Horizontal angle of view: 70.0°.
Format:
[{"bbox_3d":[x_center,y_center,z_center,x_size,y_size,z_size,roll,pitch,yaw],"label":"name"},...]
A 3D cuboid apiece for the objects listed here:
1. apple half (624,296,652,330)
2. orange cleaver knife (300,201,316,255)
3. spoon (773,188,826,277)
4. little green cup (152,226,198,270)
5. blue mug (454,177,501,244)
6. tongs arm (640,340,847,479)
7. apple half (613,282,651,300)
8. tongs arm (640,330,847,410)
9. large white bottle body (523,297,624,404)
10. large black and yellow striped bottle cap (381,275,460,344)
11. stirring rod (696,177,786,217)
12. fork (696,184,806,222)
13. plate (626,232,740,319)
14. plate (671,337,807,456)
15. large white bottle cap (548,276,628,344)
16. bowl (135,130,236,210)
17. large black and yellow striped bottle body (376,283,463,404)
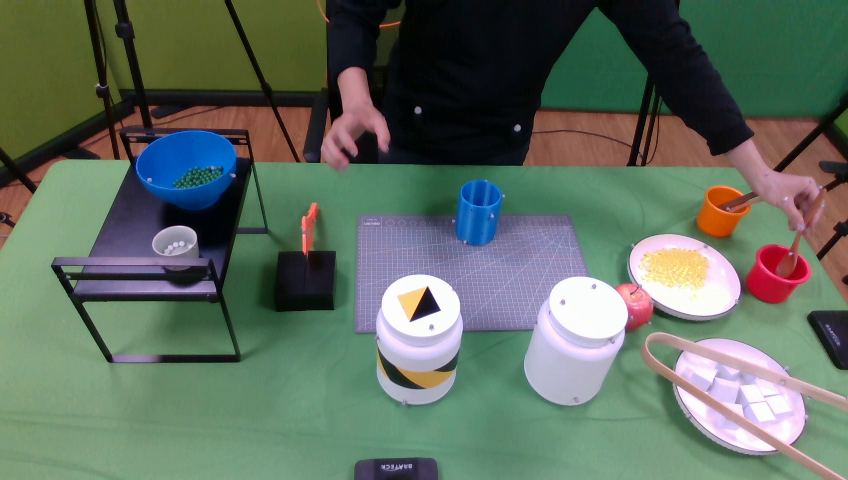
[{"bbox_3d":[0.368,0.135,1.060,0.081,0.081,0.032,-11,43,-15],"label":"apple half"},{"bbox_3d":[-0.221,-0.027,1.160,0.012,0.077,0.210,-1,15,-4],"label":"orange cleaver knife"},{"bbox_3d":[0.683,-0.011,1.104,0.021,0.194,0.041,1,38,1],"label":"spoon"},{"bbox_3d":[-0.364,0.013,0.894,0.061,0.039,0.061,3,46,-3],"label":"little green cup"},{"bbox_3d":[0.106,-0.067,1.208,0.082,0.106,0.116,6,46,1],"label":"blue mug"},{"bbox_3d":[0.500,0.277,0.919,0.386,0.028,0.028,34,59,22],"label":"tongs arm"},{"bbox_3d":[0.356,0.109,1.086,0.081,0.075,0.053,-13,44,-12],"label":"apple half"},{"bbox_3d":[0.543,0.225,0.969,0.384,0.026,0.050,22,52,13],"label":"tongs arm"},{"bbox_3d":[0.235,0.159,0.952,0.131,0.185,0.130,2,47,-2],"label":"large white bottle body"},{"bbox_3d":[-0.005,0.098,0.874,0.115,0.019,0.114,2,45,-2],"label":"large black and yellow striped bottle cap"},{"bbox_3d":[0.648,-0.087,1.244,0.176,0.006,0.014,-25,51,29],"label":"stirring rod"},{"bbox_3d":[0.658,-0.074,1.229,0.207,0.019,0.028,-24,32,36],"label":"fork"},{"bbox_3d":[0.488,0.071,1.157,0.209,0.038,0.208,3,46,-3],"label":"plate"},{"bbox_3d":[0.503,0.254,0.984,0.208,0.039,0.206,2,46,-2],"label":"plate"},{"bbox_3d":[0.240,0.100,0.890,0.115,0.018,0.114,3,47,-3],"label":"large white bottle cap"},{"bbox_3d":[-0.375,-0.102,0.978,0.151,0.077,0.150,2,46,-2],"label":"bowl"},{"bbox_3d":[-0.010,0.155,0.937,0.131,0.185,0.130,2,47,-2],"label":"large black and yellow striped bottle body"}]
